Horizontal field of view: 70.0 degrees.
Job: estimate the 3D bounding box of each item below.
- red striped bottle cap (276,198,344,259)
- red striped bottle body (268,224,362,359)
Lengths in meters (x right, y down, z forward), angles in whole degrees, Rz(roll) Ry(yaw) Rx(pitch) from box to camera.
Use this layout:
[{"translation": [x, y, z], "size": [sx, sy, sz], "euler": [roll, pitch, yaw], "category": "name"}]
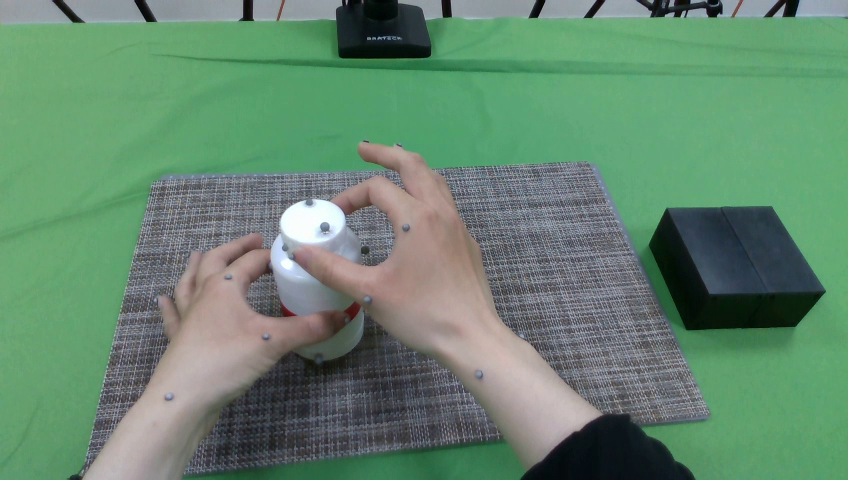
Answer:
[{"translation": [-0.077, -0.008, 0.406], "size": [0.044, 0.018, 0.044], "euler": [2, 44, -2], "category": "red striped bottle cap"}, {"translation": [-0.078, 0.030, 0.447], "size": [0.063, 0.121, 0.062], "euler": [2, 46, -2], "category": "red striped bottle body"}]
